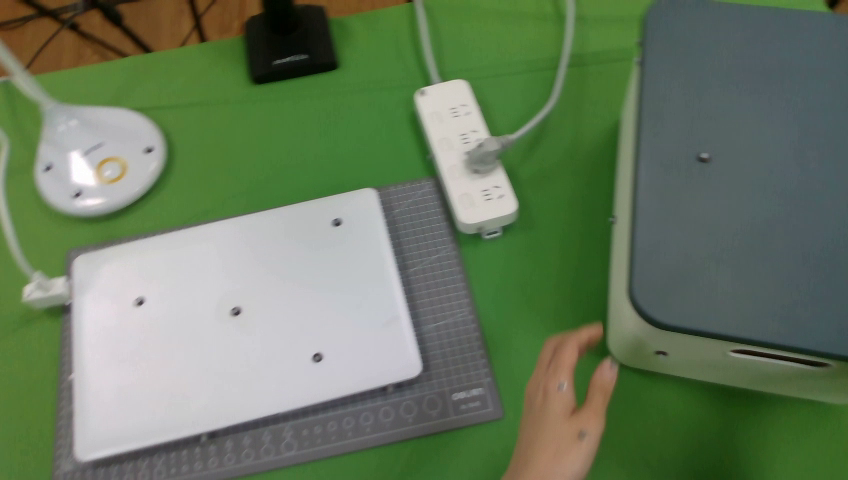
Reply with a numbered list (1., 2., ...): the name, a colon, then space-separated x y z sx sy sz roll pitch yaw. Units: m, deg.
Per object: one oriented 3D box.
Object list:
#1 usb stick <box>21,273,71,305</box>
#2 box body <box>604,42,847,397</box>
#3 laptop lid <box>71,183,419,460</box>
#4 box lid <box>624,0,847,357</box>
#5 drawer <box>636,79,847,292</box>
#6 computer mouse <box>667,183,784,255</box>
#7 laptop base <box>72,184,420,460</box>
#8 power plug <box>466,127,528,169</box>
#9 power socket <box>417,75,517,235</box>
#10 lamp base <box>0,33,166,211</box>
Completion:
1. usb stick: -0.406 0.052 0.668 0.059 0.027 0.021 -10 58 -5
2. box body: 0.328 -0.044 0.612 0.254 0.161 0.361 9 64 7
3. laptop lid: -0.200 0.074 0.648 0.357 0.013 0.239 -12 66 -3
4. box lid: 0.324 -0.080 0.546 0.263 0.015 0.369 9 65 7
5. drawer: 0.336 -0.061 0.650 0.194 0.074 0.210 7 68 7
6. computer mouse: 0.324 -0.026 0.652 0.117 0.041 0.062 13 72 13
7. laptop base: -0.200 0.077 0.659 0.354 0.023 0.233 -14 67 -4
8. power plug: 0.084 -0.100 0.701 0.072 0.053 0.035 -4 62 0
9. power socket: 0.049 -0.110 0.733 0.072 0.033 0.224 -14 63 -6
10. lamp base: -0.418 -0.148 0.694 0.178 0.182 0.160 33 69 21
